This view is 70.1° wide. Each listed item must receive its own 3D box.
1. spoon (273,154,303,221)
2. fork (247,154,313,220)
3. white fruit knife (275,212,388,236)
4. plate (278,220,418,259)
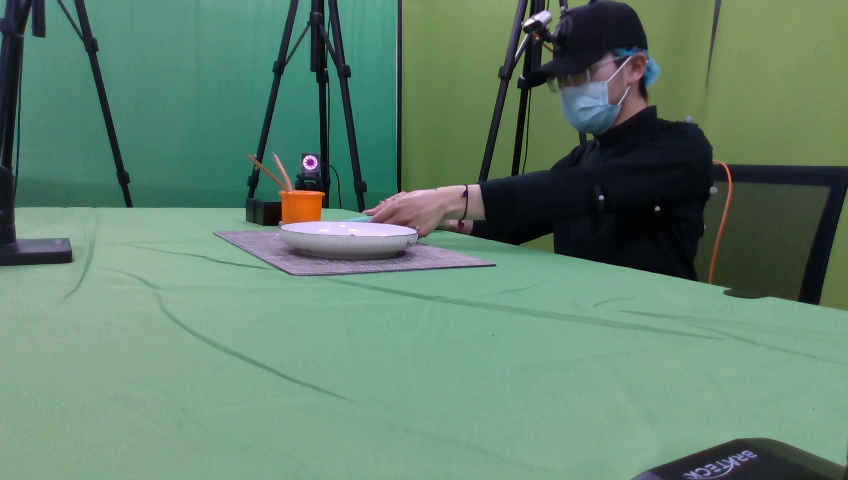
[{"bbox_3d":[-0.280,-0.107,1.247,0.021,0.193,0.042,-28,-29,9],"label":"spoon"},{"bbox_3d":[-0.275,-0.096,1.188,0.028,0.018,0.208,27,-20,48],"label":"fork"},{"bbox_3d":[-0.157,-0.025,1.057,0.208,0.016,0.027,-11,-2,-24],"label":"white fruit knife"},{"bbox_3d":[-0.114,-0.002,0.914,0.209,0.038,0.209,2,7,0],"label":"plate"}]
